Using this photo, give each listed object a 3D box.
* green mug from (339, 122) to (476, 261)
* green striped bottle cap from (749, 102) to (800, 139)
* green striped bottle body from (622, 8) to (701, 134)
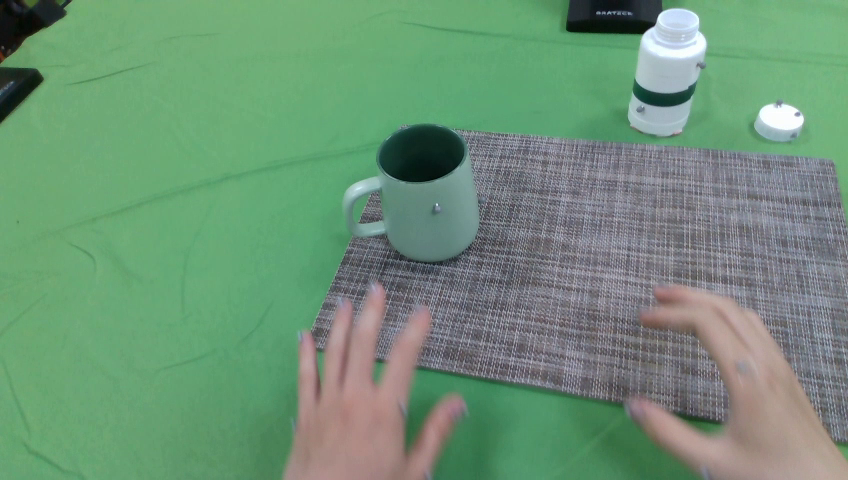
[{"bbox_3d":[-0.016,-0.036,0.550,0.125,0.106,0.091,-18,50,-7],"label":"green mug"},{"bbox_3d":[0.367,-0.125,0.634,0.044,0.020,0.044,-3,46,4],"label":"green striped bottle cap"},{"bbox_3d":[0.245,-0.175,0.625,0.063,0.120,0.062,-4,50,5],"label":"green striped bottle body"}]
